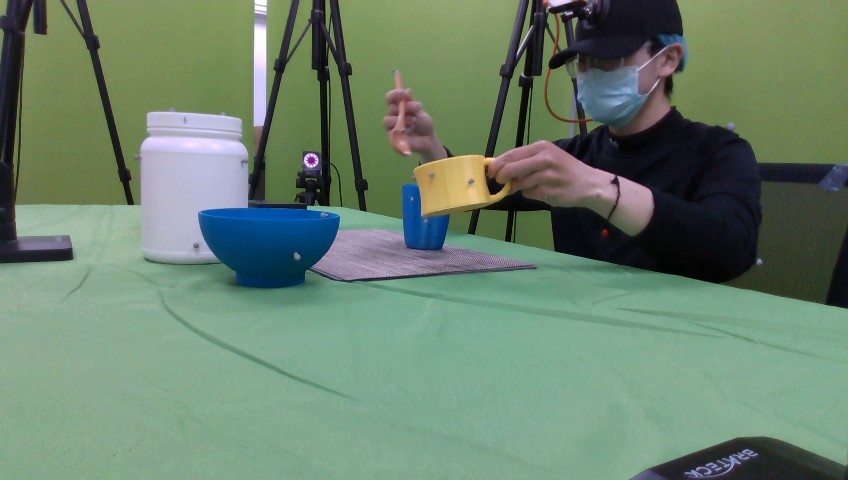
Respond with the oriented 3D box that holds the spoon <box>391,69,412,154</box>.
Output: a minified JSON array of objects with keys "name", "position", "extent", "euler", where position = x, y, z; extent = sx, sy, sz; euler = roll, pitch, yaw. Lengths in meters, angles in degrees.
[{"name":"spoon","position":[-0.036,-0.216,1.004],"extent":[0.042,0.193,0.021],"euler":[25,-39,-35]}]

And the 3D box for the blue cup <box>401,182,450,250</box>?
[{"name":"blue cup","position":[0.003,-0.039,0.966],"extent":[0.093,0.100,0.092],"euler":[4,8,0]}]

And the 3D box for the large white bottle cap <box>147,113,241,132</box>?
[{"name":"large white bottle cap","position":[-0.297,-0.151,0.786],"extent":[0.115,0.018,0.115],"euler":[2,7,0]}]

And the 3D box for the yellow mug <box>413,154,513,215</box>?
[{"name":"yellow mug","position":[0.054,-0.076,0.814],"extent":[0.130,0.064,0.100],"euler":[-10,-2,13]}]

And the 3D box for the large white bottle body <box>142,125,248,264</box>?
[{"name":"large white bottle body","position":[-0.300,-0.068,0.797],"extent":[0.131,0.184,0.130],"euler":[2,7,0]}]

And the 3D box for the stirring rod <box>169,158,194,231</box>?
[{"name":"stirring rod","position":[-0.424,-0.082,1.060],"extent":[0.014,0.006,0.175],"euler":[2,50,-10]}]

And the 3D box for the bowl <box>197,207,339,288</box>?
[{"name":"bowl","position":[-0.171,0.008,0.671],"extent":[0.151,0.077,0.151],"euler":[2,7,0]}]
